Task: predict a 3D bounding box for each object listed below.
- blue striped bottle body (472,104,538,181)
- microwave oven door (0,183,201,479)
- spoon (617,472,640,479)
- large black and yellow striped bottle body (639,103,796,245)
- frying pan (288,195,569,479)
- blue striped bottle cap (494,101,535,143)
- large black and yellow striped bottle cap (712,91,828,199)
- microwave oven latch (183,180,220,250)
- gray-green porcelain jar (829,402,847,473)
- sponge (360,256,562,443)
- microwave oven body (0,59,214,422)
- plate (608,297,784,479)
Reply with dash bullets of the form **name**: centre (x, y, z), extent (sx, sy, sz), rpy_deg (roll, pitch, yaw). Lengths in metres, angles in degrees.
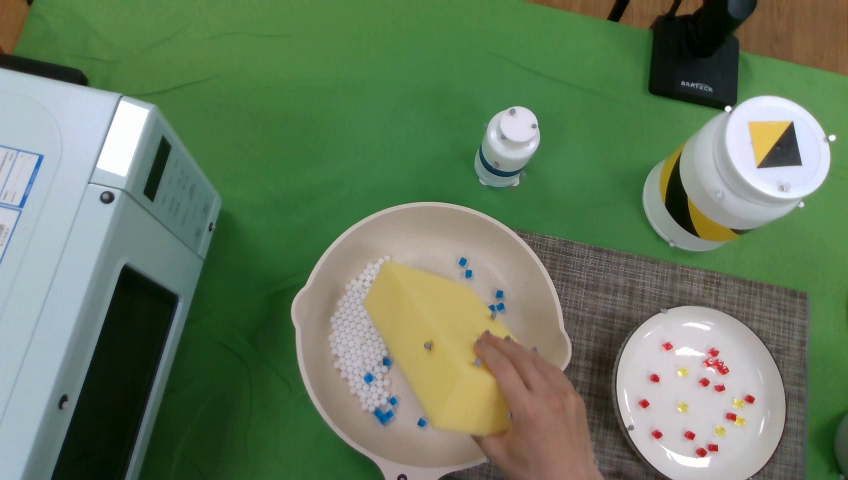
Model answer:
- **blue striped bottle body**: centre (0.097, -0.119, 0.723), extent (0.063, 0.121, 0.063), rpy_deg (1, 76, -5)
- **microwave oven door**: centre (-0.294, 0.151, 0.536), extent (0.039, 0.244, 0.354), rpy_deg (12, 75, -2)
- **spoon**: centre (0.276, 0.343, 0.676), extent (0.041, 0.022, 0.193), rpy_deg (-34, 83, -29)
- **large black and yellow striped bottle body**: centre (0.349, -0.077, 0.706), extent (0.131, 0.184, 0.130), rpy_deg (1, 75, -5)
- **frying pan**: centre (-0.013, 0.191, 0.642), extent (0.307, 0.103, 0.484), rpy_deg (11, 67, 0)
- **blue striped bottle cap**: centre (0.101, -0.131, 0.673), extent (0.044, 0.021, 0.044), rpy_deg (1, 73, -4)
- **large black and yellow striped bottle cap**: centre (0.356, -0.099, 0.623), extent (0.115, 0.019, 0.114), rpy_deg (2, 74, -5)
- **microwave oven latch**: centre (-0.257, -0.031, 0.690), extent (0.030, 0.029, 0.079), rpy_deg (15, 76, -2)
- **gray-green porcelain jar**: centre (0.539, 0.229, 0.679), extent (0.106, 0.127, 0.105), rpy_deg (1, 76, -5)
- **sponge**: centre (0.027, 0.103, 0.604), extent (0.119, 0.204, 0.061), rpy_deg (18, 108, -33)
- **microwave oven body**: centre (-0.428, 0.081, 0.545), extent (0.326, 0.261, 0.439), rpy_deg (12, 76, -3)
- **plate**: centre (0.314, 0.172, 0.712), extent (0.209, 0.038, 0.208), rpy_deg (1, 76, -5)
